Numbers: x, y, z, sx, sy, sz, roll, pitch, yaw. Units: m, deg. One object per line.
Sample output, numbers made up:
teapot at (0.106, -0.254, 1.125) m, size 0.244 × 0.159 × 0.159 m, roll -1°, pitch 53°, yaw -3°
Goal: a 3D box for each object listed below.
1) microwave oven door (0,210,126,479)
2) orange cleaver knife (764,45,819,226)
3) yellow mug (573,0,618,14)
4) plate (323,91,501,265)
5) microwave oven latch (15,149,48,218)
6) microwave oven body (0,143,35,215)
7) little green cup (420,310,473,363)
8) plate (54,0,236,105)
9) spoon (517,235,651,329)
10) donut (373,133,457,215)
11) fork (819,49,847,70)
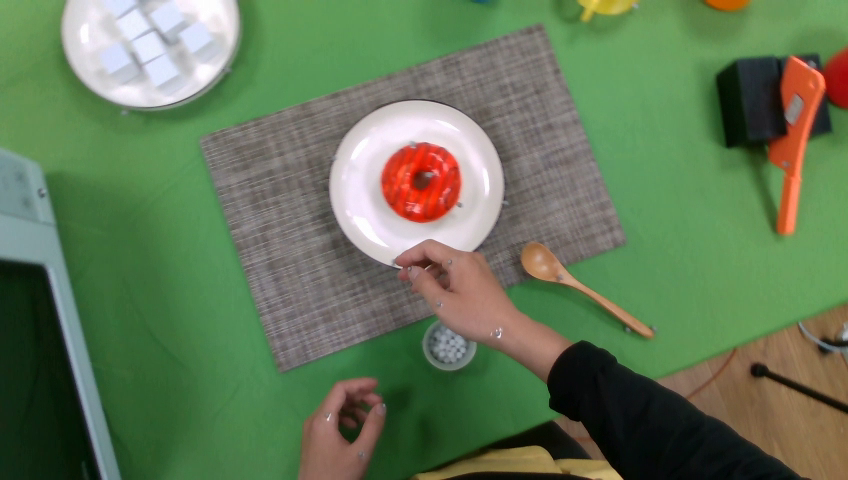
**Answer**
microwave oven door at (-0.388, 0.138, 0.573) m, size 0.039 × 0.244 × 0.355 m, roll -18°, pitch 86°, yaw -4°
orange cleaver knife at (0.432, -0.122, 0.728) m, size 0.012 × 0.076 × 0.213 m, roll -6°, pitch 115°, yaw -1°
yellow mug at (0.217, -0.338, 0.745) m, size 0.100 × 0.064 × 0.130 m, roll 28°, pitch 86°, yaw 0°
plate at (-0.014, -0.072, 0.723) m, size 0.209 × 0.038 × 0.208 m, roll 0°, pitch 86°, yaw -2°
microwave oven latch at (-0.456, -0.061, 0.688) m, size 0.030 × 0.029 × 0.079 m, roll -16°, pitch 87°, yaw -4°
microwave oven body at (-0.540, 0.142, 0.571) m, size 0.326 × 0.260 × 0.441 m, roll -18°, pitch 87°, yaw -4°
little green cup at (0.026, 0.113, 0.712) m, size 0.061 × 0.039 × 0.061 m, roll 0°, pitch 83°, yaw -2°
plate at (-0.329, -0.260, 0.729) m, size 0.208 × 0.039 × 0.207 m, roll 0°, pitch 85°, yaw -2°
spoon at (0.194, 0.055, 0.730) m, size 0.194 × 0.022 × 0.041 m, roll 32°, pitch 68°, yaw -1°
donut at (-0.010, -0.077, 0.712) m, size 0.099 × 0.048 × 0.099 m, roll 0°, pitch 87°, yaw -1°
fork at (0.587, -0.222, 0.711) m, size 0.206 × 0.019 × 0.028 m, roll 4°, pitch 81°, yaw 40°
